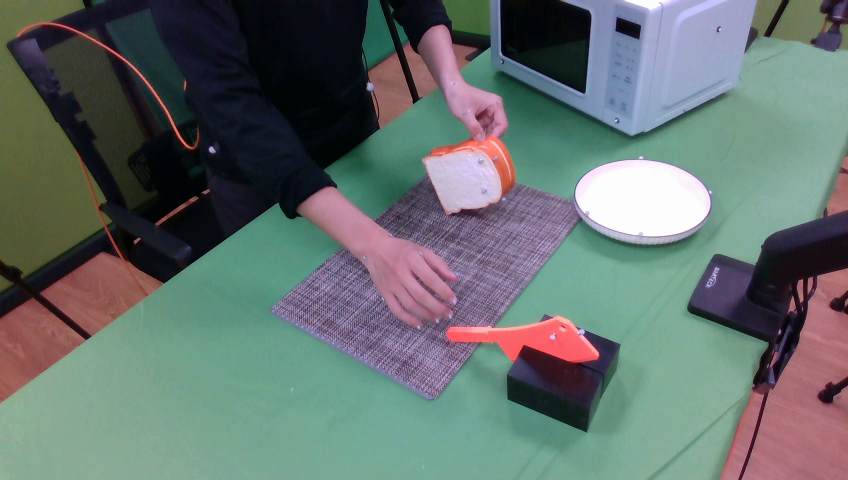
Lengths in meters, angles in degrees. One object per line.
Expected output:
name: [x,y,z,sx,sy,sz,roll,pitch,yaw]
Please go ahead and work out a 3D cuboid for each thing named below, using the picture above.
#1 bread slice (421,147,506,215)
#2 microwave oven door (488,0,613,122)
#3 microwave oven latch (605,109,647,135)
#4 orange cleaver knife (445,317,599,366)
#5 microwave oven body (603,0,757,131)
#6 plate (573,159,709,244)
bread slice: [0.067,-0.100,0.969,0.133,0.107,0.018,-12,24,42]
microwave oven door: [0.250,-0.412,1.219,0.039,0.245,0.352,-27,44,-21]
microwave oven latch: [0.379,-0.225,1.139,0.030,0.029,0.078,-26,43,-20]
orange cleaver knife: [0.115,0.129,0.751,0.210,0.077,0.012,-11,31,44]
microwave oven body: [0.396,-0.448,1.248,0.327,0.261,0.437,-27,44,-21]
plate: [0.347,-0.059,0.978,0.207,0.039,0.206,-4,41,4]
